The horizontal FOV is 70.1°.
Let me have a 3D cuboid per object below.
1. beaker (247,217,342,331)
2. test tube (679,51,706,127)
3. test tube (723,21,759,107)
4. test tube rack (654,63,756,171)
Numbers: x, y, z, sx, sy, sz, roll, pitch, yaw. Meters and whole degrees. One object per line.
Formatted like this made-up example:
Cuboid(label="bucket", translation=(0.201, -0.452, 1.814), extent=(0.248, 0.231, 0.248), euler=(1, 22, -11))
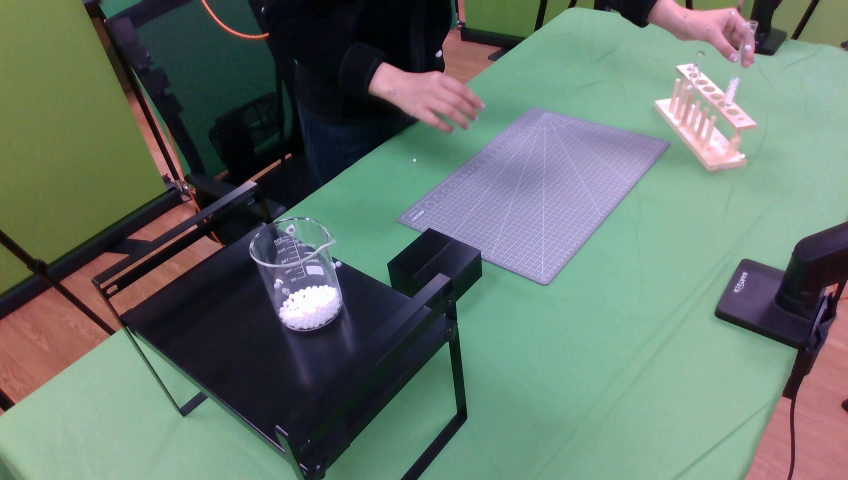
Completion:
Cuboid(label="beaker", translation=(-0.124, 0.037, 0.614), extent=(0.084, 0.101, 0.073), euler=(-7, 41, 0))
Cuboid(label="test tube", translation=(0.488, -0.273, 1.100), extent=(0.017, 0.151, 0.017), euler=(-3, 43, 3))
Cuboid(label="test tube", translation=(0.528, -0.290, 1.010), extent=(0.017, 0.151, 0.017), euler=(-2, 43, 2))
Cuboid(label="test tube rack", translation=(0.510, -0.233, 1.120), extent=(0.067, 0.085, 0.241), euler=(-8, 41, -1))
